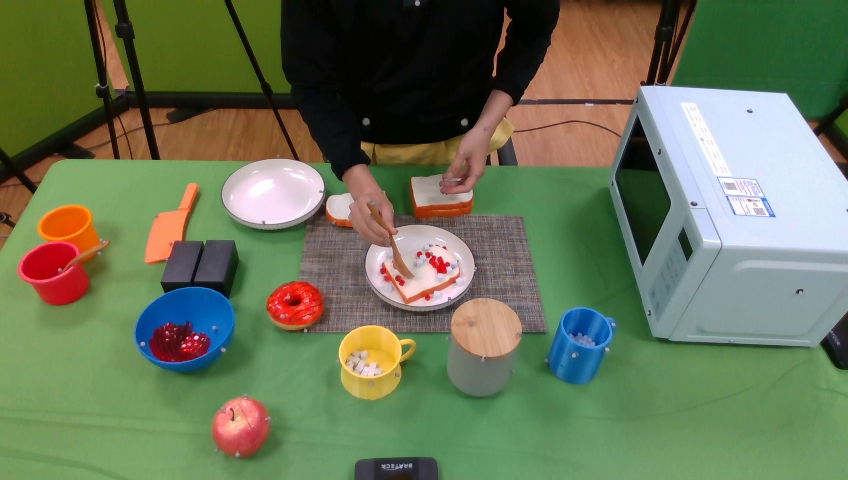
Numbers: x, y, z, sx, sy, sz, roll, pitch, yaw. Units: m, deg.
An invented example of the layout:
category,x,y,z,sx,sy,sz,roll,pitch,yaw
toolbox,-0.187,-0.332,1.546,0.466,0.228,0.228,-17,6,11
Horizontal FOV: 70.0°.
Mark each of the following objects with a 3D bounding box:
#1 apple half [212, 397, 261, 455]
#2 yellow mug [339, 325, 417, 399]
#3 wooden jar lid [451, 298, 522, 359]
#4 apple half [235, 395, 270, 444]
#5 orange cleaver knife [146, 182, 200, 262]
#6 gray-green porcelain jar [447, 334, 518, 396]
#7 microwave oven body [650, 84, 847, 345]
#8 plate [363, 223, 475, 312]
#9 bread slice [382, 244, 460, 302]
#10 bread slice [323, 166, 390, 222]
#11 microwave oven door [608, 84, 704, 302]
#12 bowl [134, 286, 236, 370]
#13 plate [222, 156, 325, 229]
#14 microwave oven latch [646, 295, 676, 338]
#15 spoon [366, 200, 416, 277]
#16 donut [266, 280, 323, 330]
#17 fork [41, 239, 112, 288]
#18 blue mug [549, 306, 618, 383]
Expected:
category,x,y,z,sx,sy,sz,roll,pitch,yaw
apple half,-0.276,0.277,0.877,0.053,0.075,0.080,-29,58,-21
yellow mug,-0.072,0.191,0.978,0.131,0.064,0.099,-17,50,-20
wooden jar lid,0.093,0.135,0.914,0.108,0.021,0.107,3,49,-3
apple half,-0.245,0.260,0.893,0.033,0.082,0.081,-29,55,-22
orange cleaver knife,-0.494,-0.039,1.198,0.077,0.012,0.210,-4,48,2
gray-green porcelain jar,0.091,0.178,0.960,0.106,0.127,0.105,2,46,-2
microwave oven body,0.569,-0.054,1.115,0.326,0.261,0.439,2,46,-1
plate,-0.009,0.054,1.126,0.208,0.039,0.206,2,47,-2
bread slice,0.000,0.053,1.128,0.132,0.019,0.104,-20,52,-22
bread slice,-0.140,-0.091,1.224,0.134,0.018,0.106,-19,51,5
microwave oven door,0.424,-0.096,1.138,0.039,0.245,0.353,2,47,-1
bowl,-0.377,0.156,0.981,0.151,0.077,0.150,2,46,-2
plate,-0.308,-0.095,1.251,0.209,0.038,0.208,2,47,-2
microwave oven latch,0.413,0.133,1.060,0.030,0.029,0.078,4,46,1
spoon,-0.058,0.000,1.041,0.021,0.195,0.041,-42,42,-22
donut,-0.223,0.113,1.051,0.099,0.048,0.098,2,45,-2
fork,-0.591,0.040,1.028,0.207,0.019,0.028,-27,37,29
blue mug,0.269,0.167,0.997,0.116,0.106,0.082,-19,51,-21
